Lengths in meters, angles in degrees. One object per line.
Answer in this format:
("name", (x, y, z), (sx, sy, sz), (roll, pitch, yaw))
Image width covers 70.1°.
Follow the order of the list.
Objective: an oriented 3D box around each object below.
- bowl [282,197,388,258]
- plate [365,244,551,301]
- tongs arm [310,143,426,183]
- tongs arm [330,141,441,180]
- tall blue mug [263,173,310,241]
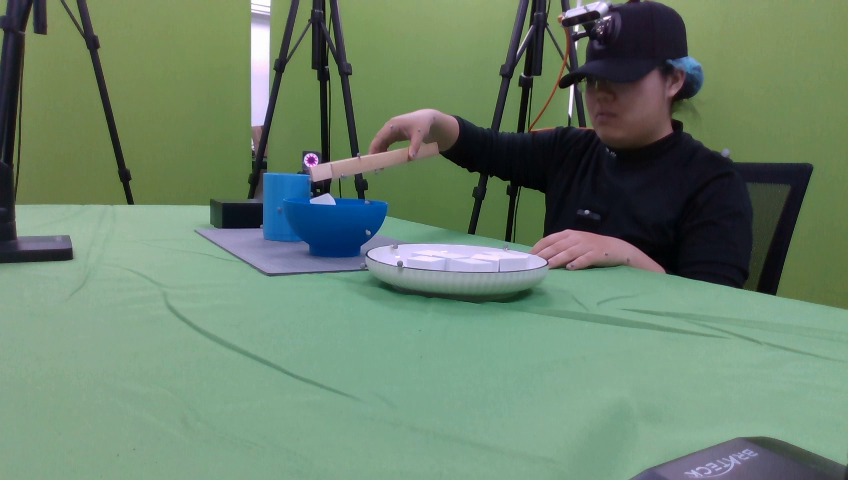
("bowl", (-0.128, -0.018, 0.869), (0.151, 0.077, 0.151), (2, 7, 0))
("plate", (0.038, 0.035, 0.685), (0.209, 0.038, 0.209), (2, 7, 0))
("tongs arm", (-0.083, -0.143, 1.081), (0.028, 0.028, 0.389), (-11, 8, 29))
("tongs arm", (-0.060, -0.145, 1.070), (0.050, 0.026, 0.386), (-6, 11, 32))
("tall blue mug", (-0.233, -0.058, 1.019), (0.078, 0.108, 0.107), (-1, 8, -19))
